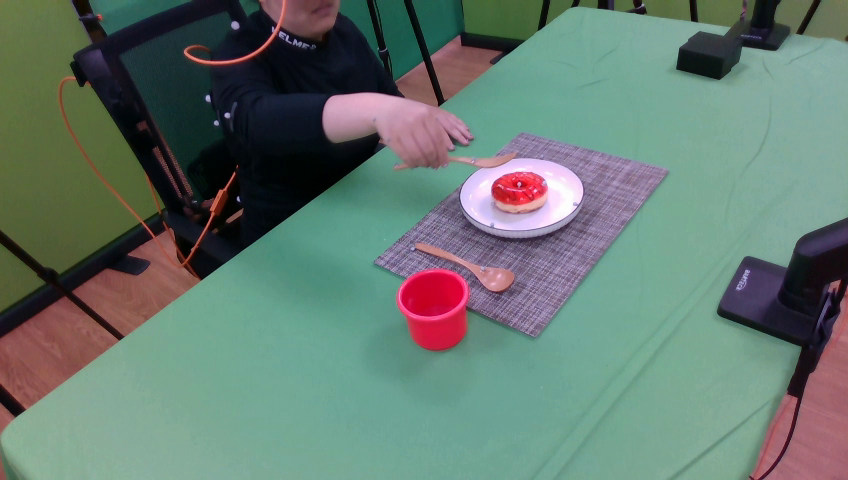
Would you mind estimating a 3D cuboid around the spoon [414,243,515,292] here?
[{"bbox_3d":[0.057,0.035,0.924,0.192,0.022,0.041,24,68,34],"label":"spoon"}]

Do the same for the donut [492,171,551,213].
[{"bbox_3d":[0.163,-0.083,1.016,0.099,0.048,0.098,-6,37,5],"label":"donut"}]

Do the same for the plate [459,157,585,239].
[{"bbox_3d":[0.163,-0.068,1.015,0.209,0.038,0.208,-5,40,5],"label":"plate"}]

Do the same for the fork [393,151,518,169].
[{"bbox_3d":[0.039,-0.113,0.869,0.206,0.019,0.028,3,39,32],"label":"fork"}]
